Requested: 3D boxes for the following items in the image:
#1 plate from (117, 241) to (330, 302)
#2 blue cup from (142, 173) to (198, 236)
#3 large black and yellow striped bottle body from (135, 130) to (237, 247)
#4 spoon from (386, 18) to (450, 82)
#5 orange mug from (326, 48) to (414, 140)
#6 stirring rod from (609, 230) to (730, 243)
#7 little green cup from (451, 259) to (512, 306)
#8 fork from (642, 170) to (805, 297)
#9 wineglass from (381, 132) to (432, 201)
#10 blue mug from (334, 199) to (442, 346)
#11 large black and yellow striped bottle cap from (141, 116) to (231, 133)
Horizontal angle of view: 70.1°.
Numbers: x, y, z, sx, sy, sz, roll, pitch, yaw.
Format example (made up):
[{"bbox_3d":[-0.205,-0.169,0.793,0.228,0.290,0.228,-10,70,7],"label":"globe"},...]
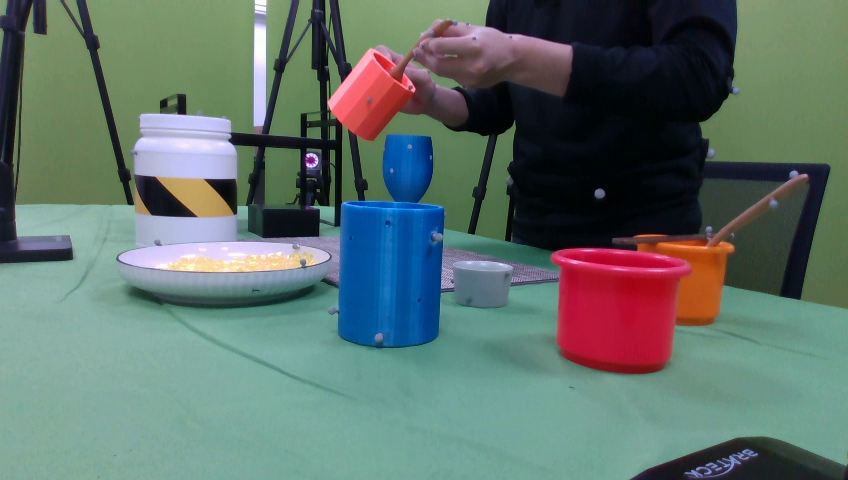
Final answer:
[{"bbox_3d":[-0.203,0.031,0.630,0.209,0.038,0.209,3,7,0],"label":"plate"},{"bbox_3d":[-0.425,-0.060,1.014,0.093,0.100,0.092,4,9,0],"label":"blue cup"},{"bbox_3d":[-0.327,-0.074,0.838,0.131,0.184,0.130,2,7,0],"label":"large black and yellow striped bottle body"},{"bbox_3d":[-0.022,-0.240,0.795,0.042,0.021,0.193,12,-22,-28],"label":"spoon"},{"bbox_3d":[-0.075,-0.216,0.881,0.083,0.100,0.126,39,26,-13],"label":"orange mug"},{"bbox_3d":[0.241,-0.004,0.582,0.177,0.006,0.014,-4,10,-33],"label":"stirring rod"},{"bbox_3d":[0.057,0.043,0.611,0.061,0.038,0.061,3,8,0],"label":"little green cup"},{"bbox_3d":[0.261,0.003,0.545,0.028,0.018,0.207,5,-37,-15],"label":"fork"},{"bbox_3d":[-0.026,-0.062,0.841,0.074,0.172,0.073,2,8,0],"label":"wineglass"},{"bbox_3d":[-0.034,0.020,0.498,0.083,0.106,0.116,0,7,-20],"label":"blue mug"},{"bbox_3d":[-0.324,-0.157,0.826,0.115,0.019,0.115,1,7,0],"label":"large black and yellow striped bottle cap"}]
